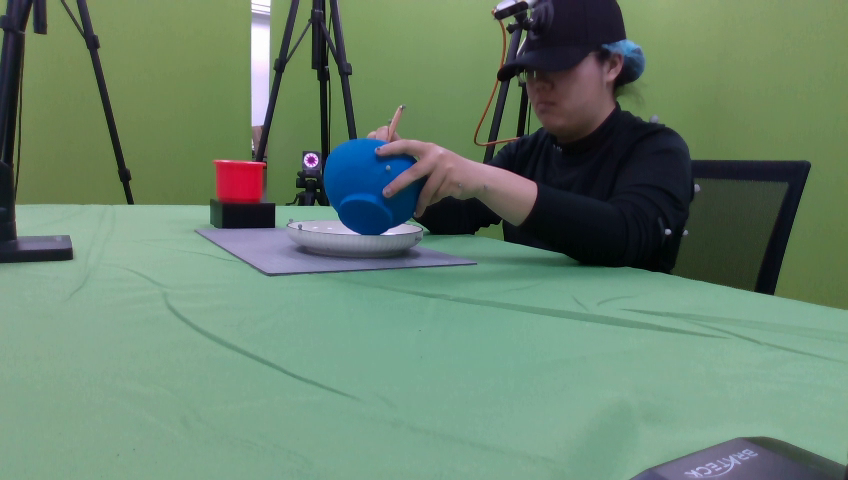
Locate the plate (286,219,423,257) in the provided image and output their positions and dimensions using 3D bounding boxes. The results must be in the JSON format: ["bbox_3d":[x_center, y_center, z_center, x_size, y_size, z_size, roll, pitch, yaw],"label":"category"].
[{"bbox_3d":[-0.105,-0.003,0.922,0.208,0.039,0.207,3,7,0],"label":"plate"}]

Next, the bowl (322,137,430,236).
[{"bbox_3d":[-0.074,-0.058,0.828,0.151,0.151,0.077,3,51,10],"label":"bowl"}]

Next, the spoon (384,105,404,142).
[{"bbox_3d":[-0.071,-0.129,0.913,0.022,0.194,0.041,34,-25,-13],"label":"spoon"}]
